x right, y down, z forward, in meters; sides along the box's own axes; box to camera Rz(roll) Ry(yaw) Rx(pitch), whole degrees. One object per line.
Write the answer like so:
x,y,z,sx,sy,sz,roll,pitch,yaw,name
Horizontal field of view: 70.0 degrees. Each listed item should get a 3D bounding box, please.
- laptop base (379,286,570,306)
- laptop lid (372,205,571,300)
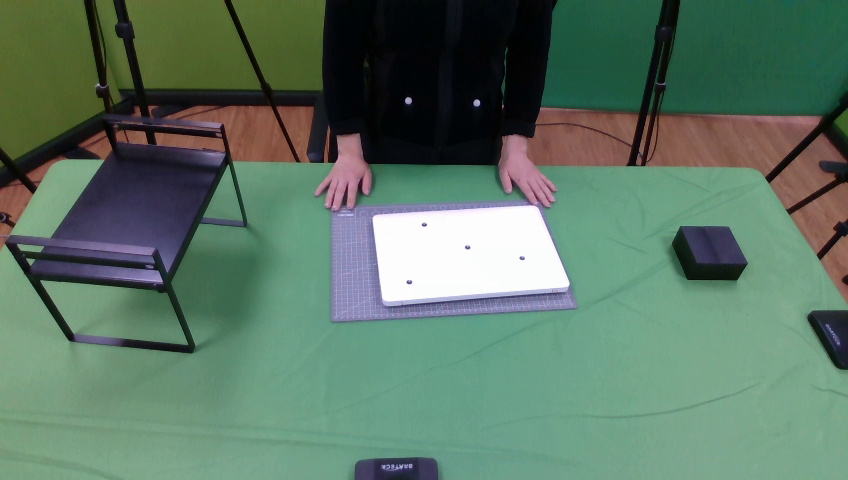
0.083,0.027,1.178,0.355,0.023,0.234,-4,43,-8,laptop base
0.083,0.017,1.171,0.357,0.013,0.240,-3,44,-7,laptop lid
